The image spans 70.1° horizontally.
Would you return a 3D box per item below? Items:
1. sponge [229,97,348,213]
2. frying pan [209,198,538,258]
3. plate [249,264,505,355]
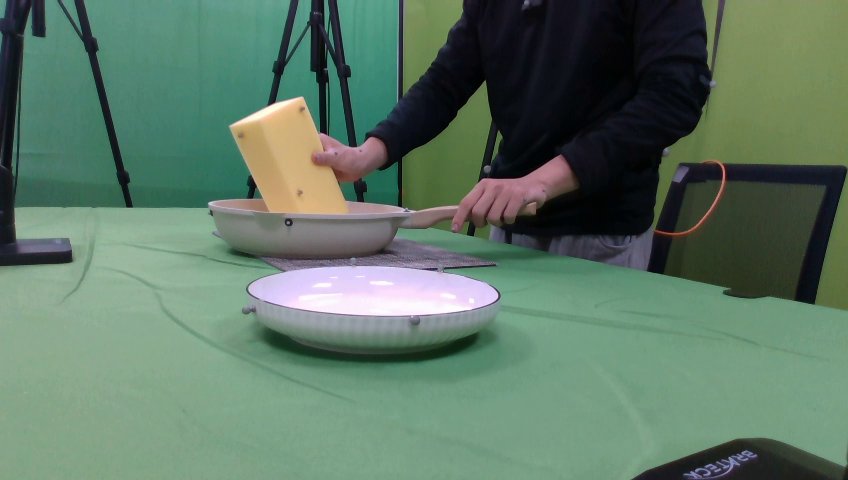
[{"bbox_3d":[-0.209,-0.109,0.965,0.060,0.207,0.118,-7,27,29],"label":"sponge"},{"bbox_3d":[-0.075,-0.033,0.912,0.487,0.102,0.307,-5,7,12],"label":"frying pan"},{"bbox_3d":[-0.037,0.056,0.504,0.208,0.039,0.207,2,7,0],"label":"plate"}]
